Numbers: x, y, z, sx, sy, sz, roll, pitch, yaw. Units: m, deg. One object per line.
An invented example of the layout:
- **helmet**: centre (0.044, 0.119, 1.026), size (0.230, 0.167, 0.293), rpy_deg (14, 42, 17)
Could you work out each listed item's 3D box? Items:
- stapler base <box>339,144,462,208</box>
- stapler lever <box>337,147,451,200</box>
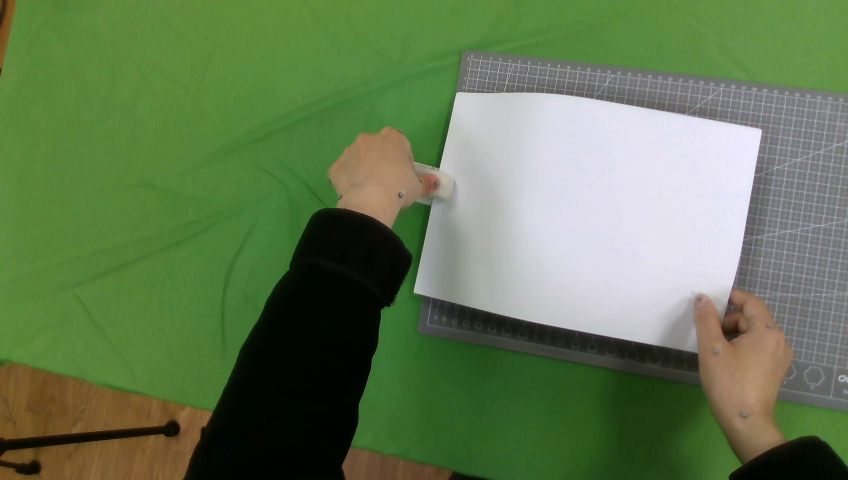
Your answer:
- **stapler base**: centre (-0.027, -0.067, 0.627), size (0.130, 0.024, 0.041), rpy_deg (16, 88, 10)
- **stapler lever**: centre (-0.030, -0.068, 0.612), size (0.118, 0.040, 0.027), rpy_deg (16, 88, 0)
